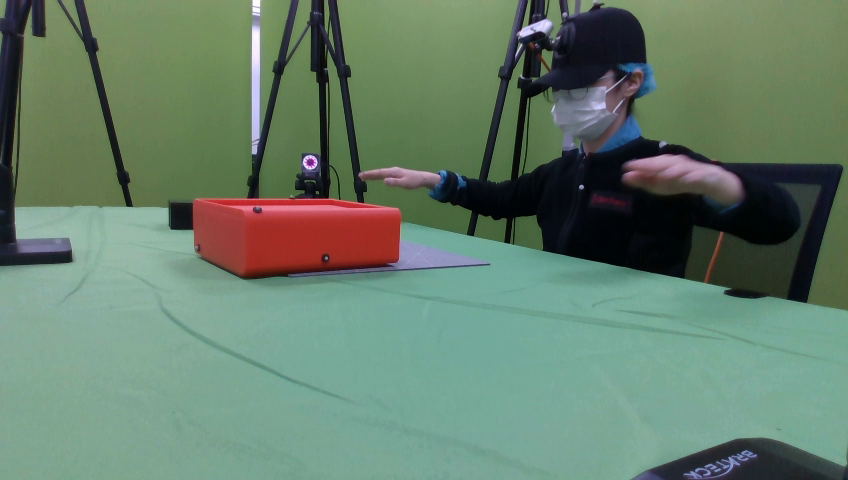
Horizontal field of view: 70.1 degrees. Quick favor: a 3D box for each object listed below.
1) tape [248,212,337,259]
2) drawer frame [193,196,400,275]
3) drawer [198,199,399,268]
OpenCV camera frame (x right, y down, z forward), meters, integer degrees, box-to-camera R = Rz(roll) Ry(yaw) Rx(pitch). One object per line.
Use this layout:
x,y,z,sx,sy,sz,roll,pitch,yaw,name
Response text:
-0.176,-0.008,0.814,0.117,0.052,0.117,3,6,0,tape
-0.173,-0.014,0.815,0.215,0.082,0.200,-4,10,-37,drawer frame
-0.171,-0.014,0.818,0.213,0.073,0.193,-4,10,-36,drawer
